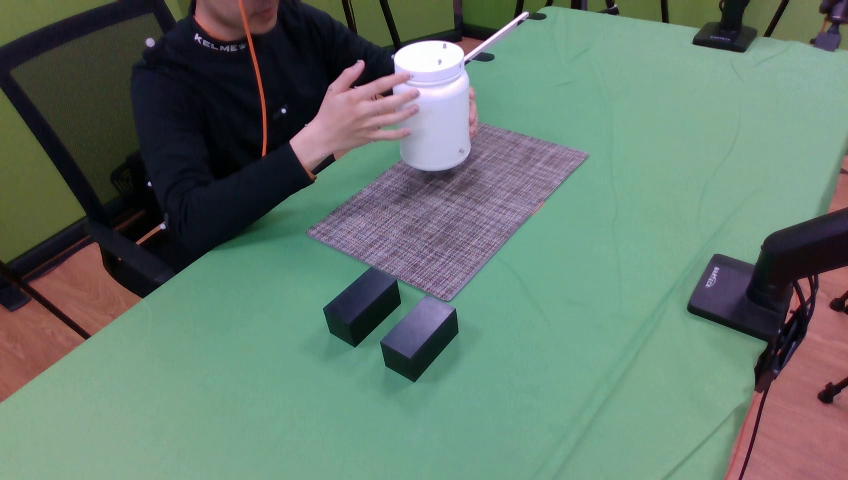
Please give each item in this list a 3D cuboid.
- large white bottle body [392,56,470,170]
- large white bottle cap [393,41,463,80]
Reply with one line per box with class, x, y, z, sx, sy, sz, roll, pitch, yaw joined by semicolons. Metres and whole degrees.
large white bottle body;0.013;-0.229;1.042;0.130;0.185;0.130;-3;41;3
large white bottle cap;0.006;-0.293;0.985;0.115;0.018;0.114;-3;41;3
